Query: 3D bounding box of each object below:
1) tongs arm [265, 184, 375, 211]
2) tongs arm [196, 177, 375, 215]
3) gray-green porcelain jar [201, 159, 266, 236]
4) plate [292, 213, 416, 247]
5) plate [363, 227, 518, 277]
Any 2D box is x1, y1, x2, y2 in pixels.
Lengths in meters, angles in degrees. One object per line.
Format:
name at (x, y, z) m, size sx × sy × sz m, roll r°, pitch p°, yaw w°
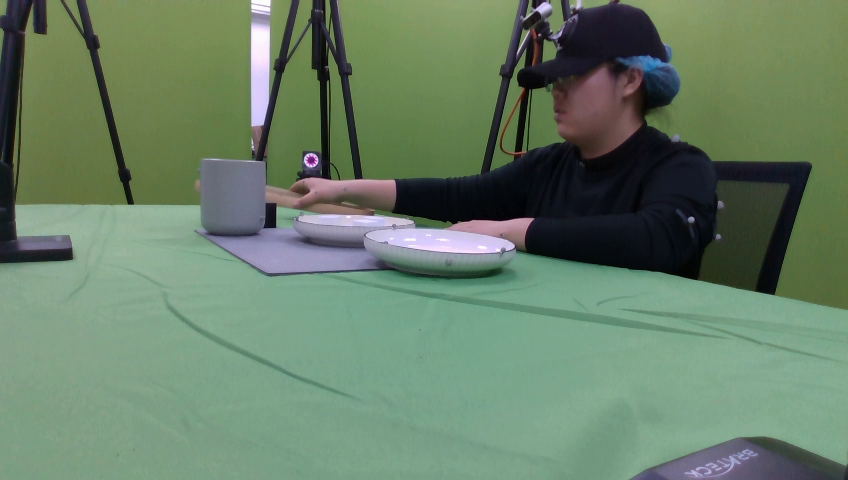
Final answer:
tongs arm at (-0.303, -0.100, 1.389) m, size 0.386 × 0.026 × 0.050 m, roll 12°, pitch 8°, yaw -9°
tongs arm at (-0.293, -0.086, 1.323) m, size 0.389 × 0.028 × 0.028 m, roll 11°, pitch 5°, yaw -18°
gray-green porcelain jar at (-0.326, -0.073, 1.036) m, size 0.106 × 0.126 × 0.106 m, roll 3°, pitch 8°, yaw 0°
plate at (-0.118, -0.017, 1.024) m, size 0.208 × 0.039 × 0.207 m, roll 2°, pitch 7°, yaw 0°
plate at (0.022, 0.016, 0.817) m, size 0.209 × 0.038 × 0.209 m, roll 4°, pitch 9°, yaw 0°
